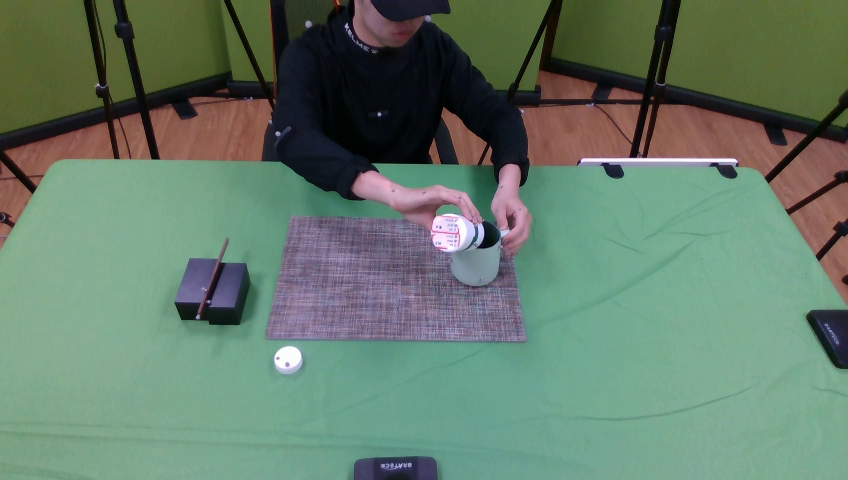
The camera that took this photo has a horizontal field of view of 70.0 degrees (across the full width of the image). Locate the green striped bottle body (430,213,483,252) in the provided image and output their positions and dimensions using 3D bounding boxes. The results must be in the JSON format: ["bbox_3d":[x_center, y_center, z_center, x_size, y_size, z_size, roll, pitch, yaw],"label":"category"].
[{"bbox_3d":[0.060,-0.013,1.016,0.063,0.063,0.119,26,10,20],"label":"green striped bottle body"}]

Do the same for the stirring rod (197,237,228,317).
[{"bbox_3d":[-0.363,0.060,1.047,0.006,0.014,0.175,7,46,-3],"label":"stirring rod"}]

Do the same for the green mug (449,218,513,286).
[{"bbox_3d":[0.110,0.018,1.126,0.125,0.105,0.092,-19,50,-21],"label":"green mug"}]

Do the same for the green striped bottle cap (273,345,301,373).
[{"bbox_3d":[-0.225,0.195,0.997,0.044,0.020,0.044,2,50,-2],"label":"green striped bottle cap"}]
